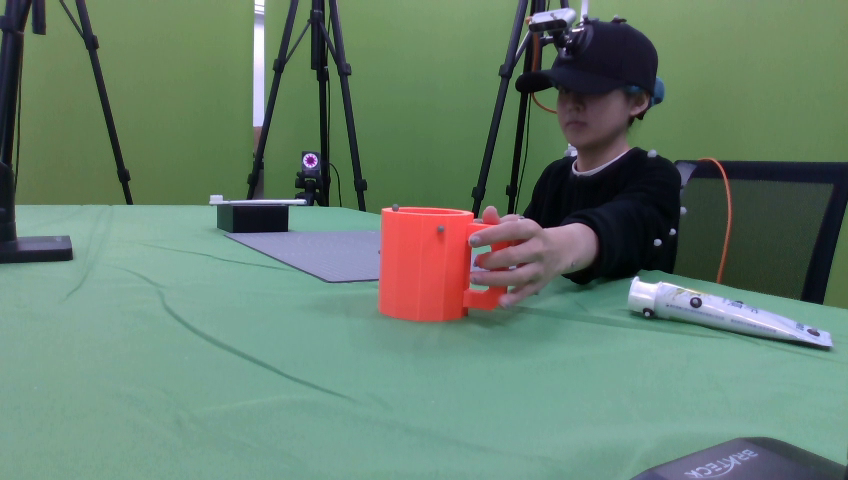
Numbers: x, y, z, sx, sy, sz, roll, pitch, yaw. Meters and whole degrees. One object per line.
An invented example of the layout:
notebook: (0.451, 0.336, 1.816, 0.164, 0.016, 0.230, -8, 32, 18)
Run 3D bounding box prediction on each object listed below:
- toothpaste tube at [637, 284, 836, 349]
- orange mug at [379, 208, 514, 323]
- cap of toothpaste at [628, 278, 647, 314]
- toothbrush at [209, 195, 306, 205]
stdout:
toothpaste tube: (0.275, 0.070, 0.550, 0.164, 0.034, 0.055, 11, 15, 28)
orange mug: (0.019, 0.021, 0.557, 0.126, 0.100, 0.084, 0, 6, 20)
cap of toothpaste: (0.209, 0.055, 0.589, 0.011, 0.037, 0.037, 11, 11, 28)
toothbrush: (-0.303, -0.073, 1.117, 0.183, 0.016, 0.014, -2, 5, -36)
